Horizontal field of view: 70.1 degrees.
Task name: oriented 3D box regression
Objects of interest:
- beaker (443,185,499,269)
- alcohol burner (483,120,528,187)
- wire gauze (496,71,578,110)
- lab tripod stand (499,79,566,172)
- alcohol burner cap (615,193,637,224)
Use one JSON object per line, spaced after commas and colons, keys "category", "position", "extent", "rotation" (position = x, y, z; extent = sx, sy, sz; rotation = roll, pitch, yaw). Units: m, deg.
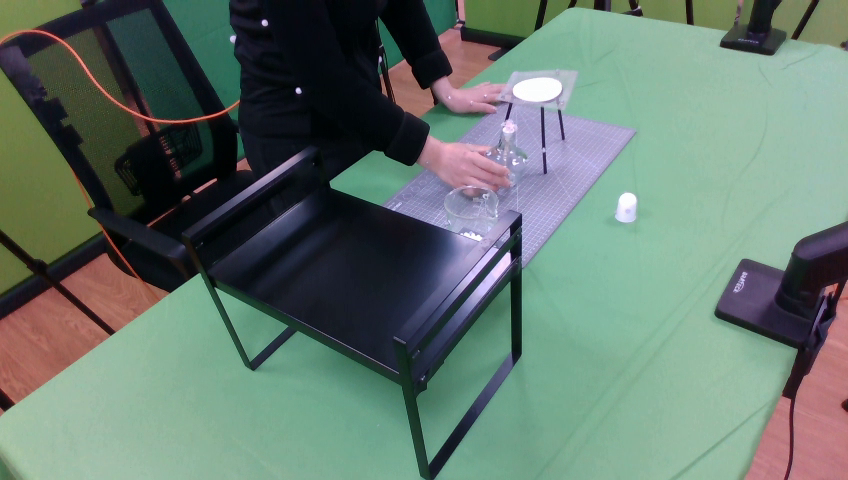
{"category": "beaker", "position": [0.071, -0.015, 0.844], "extent": [0.074, 0.101, 0.083], "rotation": [-35, 48, -29]}
{"category": "alcohol burner", "position": [0.142, -0.152, 1.039], "extent": [0.078, 0.119, 0.077], "rotation": [2, 39, -1]}
{"category": "wire gauze", "position": [0.199, -0.268, 1.065], "extent": [0.124, 0.011, 0.121], "rotation": [10, 44, 22]}
{"category": "lab tripod stand", "position": [0.204, -0.216, 1.107], "extent": [0.148, 0.132, 0.147], "rotation": [-6, 41, 5]}
{"category": "alcohol burner cap", "position": [0.327, -0.054, 0.974], "extent": [0.034, 0.048, 0.033], "rotation": [-4, 38, 3]}
